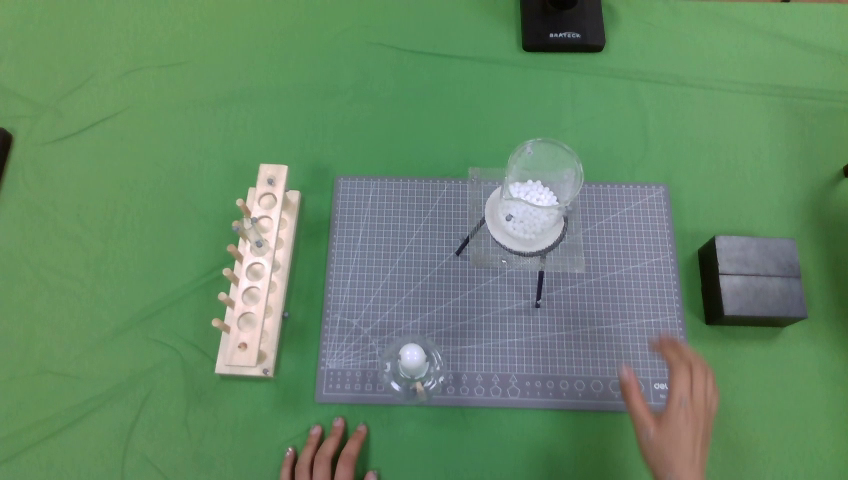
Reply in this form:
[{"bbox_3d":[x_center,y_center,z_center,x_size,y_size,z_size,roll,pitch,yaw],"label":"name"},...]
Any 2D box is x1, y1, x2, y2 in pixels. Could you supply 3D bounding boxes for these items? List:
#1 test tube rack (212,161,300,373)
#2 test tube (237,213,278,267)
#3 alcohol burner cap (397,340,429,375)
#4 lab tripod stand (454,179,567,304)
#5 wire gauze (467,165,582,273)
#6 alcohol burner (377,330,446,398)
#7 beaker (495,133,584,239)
[{"bbox_3d":[-0.206,0.031,0.730,0.067,0.085,0.240,4,70,1],"label":"test tube rack"},{"bbox_3d":[-0.186,0.003,0.687,0.017,0.151,0.017,1,71,-2],"label":"test tube"},{"bbox_3d":[-0.013,0.123,0.642,0.034,0.048,0.033,-2,66,4],"label":"alcohol burner cap"},{"bbox_3d":[0.112,-0.007,0.720,0.148,0.132,0.147,0,68,0],"label":"lab tripod stand"},{"bbox_3d":[0.109,-0.027,0.656,0.125,0.011,0.120,3,70,-2],"label":"wire gauze"},{"bbox_3d":[-0.014,0.136,0.677,0.078,0.120,0.077,1,69,-2],"label":"alcohol burner"},{"bbox_3d":[0.110,-0.048,0.613,0.084,0.101,0.073,-31,73,-12],"label":"beaker"}]
